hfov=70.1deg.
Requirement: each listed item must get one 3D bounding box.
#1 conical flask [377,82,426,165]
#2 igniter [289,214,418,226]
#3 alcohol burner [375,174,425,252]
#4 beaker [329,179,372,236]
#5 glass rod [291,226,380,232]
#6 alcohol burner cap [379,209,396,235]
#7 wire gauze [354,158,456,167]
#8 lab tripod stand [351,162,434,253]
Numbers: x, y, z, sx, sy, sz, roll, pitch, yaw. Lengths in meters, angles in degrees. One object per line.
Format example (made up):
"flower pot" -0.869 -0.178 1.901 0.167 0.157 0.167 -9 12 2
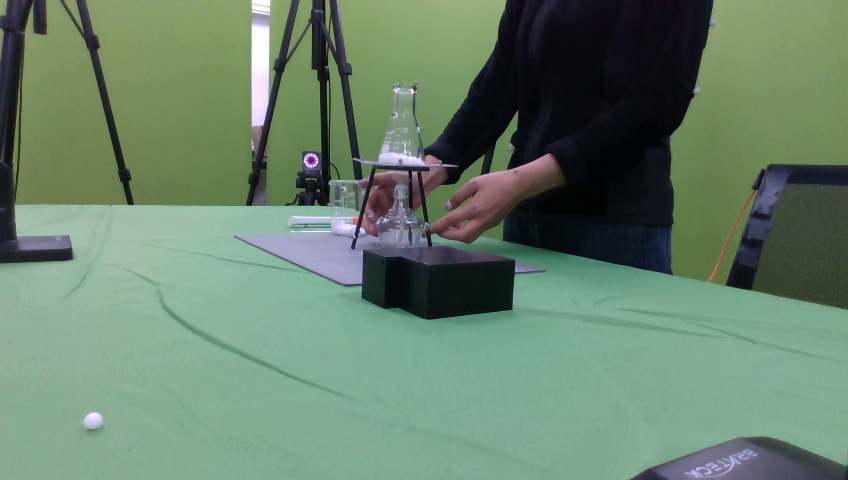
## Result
"conical flask" -0.032 -0.176 0.918 0.075 0.122 0.075 3 8 0
"igniter" -0.141 -0.042 1.258 0.278 0.025 0.057 -1 -1 -30
"alcohol burner" -0.036 -0.042 0.934 0.078 0.119 0.078 2 10 0
"beaker" -0.137 -0.061 1.101 0.084 0.100 0.074 4 7 21
"glass rod" -0.161 -0.022 1.177 0.201 0.008 0.008 -2 8 -29
"alcohol burner cap" -0.069 -0.036 1.154 0.034 0.048 0.034 3 8 0
"wire gauze" -0.030 -0.117 0.927 0.122 0.011 0.124 0 5 -36
"lab tripod stand" -0.034 -0.052 0.933 0.148 0.131 0.148 4 7 0
